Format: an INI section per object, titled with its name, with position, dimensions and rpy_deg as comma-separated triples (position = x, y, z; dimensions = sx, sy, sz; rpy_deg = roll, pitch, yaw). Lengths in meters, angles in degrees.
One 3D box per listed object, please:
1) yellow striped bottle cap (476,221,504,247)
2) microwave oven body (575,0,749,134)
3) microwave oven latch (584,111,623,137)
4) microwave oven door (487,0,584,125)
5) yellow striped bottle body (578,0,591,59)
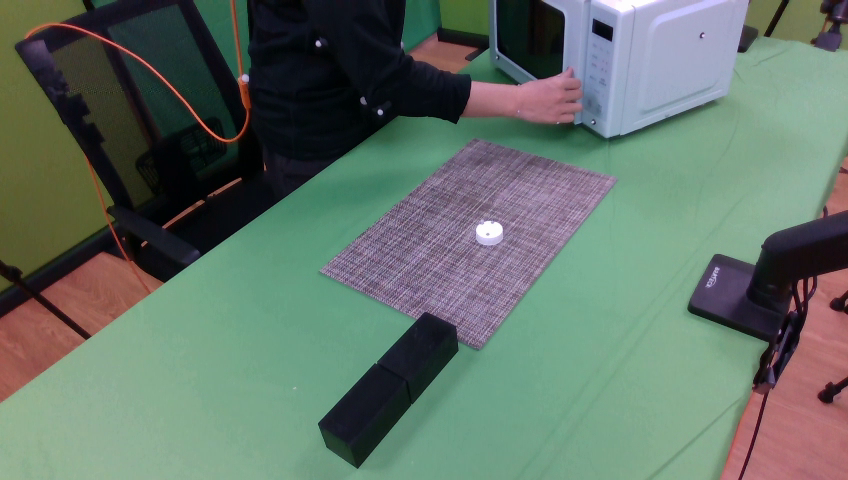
[yellow striped bottle cap]
position = 0.105, -0.010, 0.966
dimensions = 0.044, 0.019, 0.044
rpy_deg = -4, 39, 4
[microwave oven body]
position = 0.382, -0.445, 1.246
dimensions = 0.327, 0.261, 0.437
rpy_deg = -22, 42, -16
[microwave oven latch]
position = 0.337, -0.222, 1.142
dimensions = 0.030, 0.029, 0.078
rpy_deg = -21, 42, -14
[microwave oven door]
position = 0.225, -0.417, 1.228
dimensions = 0.039, 0.245, 0.352
rpy_deg = -20, 42, -14
[yellow striped bottle body]
position = 0.338, -0.448, 1.266
dimensions = 0.063, 0.121, 0.062
rpy_deg = -5, 45, 6
